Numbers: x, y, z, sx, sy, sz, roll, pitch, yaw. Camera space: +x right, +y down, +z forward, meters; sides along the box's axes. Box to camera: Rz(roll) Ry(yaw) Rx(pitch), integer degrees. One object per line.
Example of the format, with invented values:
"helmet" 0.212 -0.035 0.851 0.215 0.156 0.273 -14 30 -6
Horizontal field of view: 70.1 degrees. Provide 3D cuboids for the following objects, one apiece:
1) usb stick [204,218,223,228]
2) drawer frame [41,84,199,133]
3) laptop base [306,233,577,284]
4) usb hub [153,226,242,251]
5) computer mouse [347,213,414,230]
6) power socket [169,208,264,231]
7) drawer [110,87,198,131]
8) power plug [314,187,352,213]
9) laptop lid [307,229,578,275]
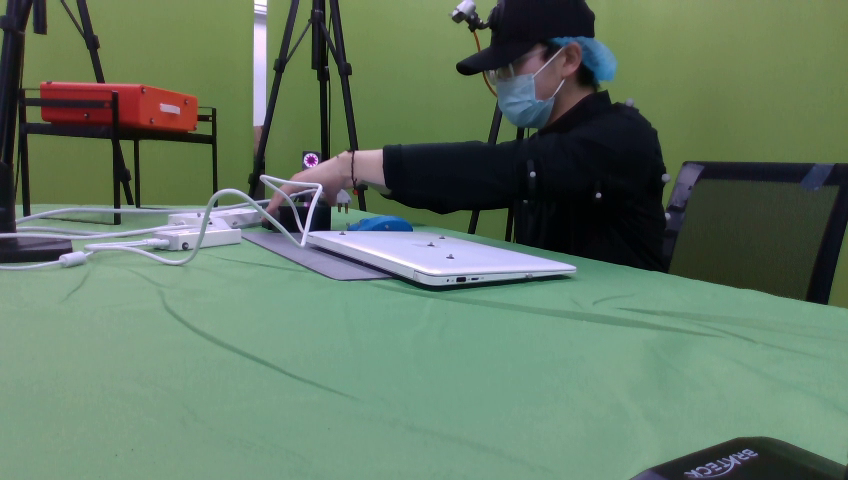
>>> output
"usb stick" -0.346 -0.018 1.010 0.021 0.027 0.059 -43 -1 -8
"drawer frame" -0.604 -0.264 1.225 0.213 0.082 0.202 3 8 8
"laptop base" 0.007 0.022 0.850 0.237 0.023 0.352 1 7 -34
"usb hub" -0.337 -0.003 0.907 0.049 0.025 0.125 6 9 28
"computer mouse" -0.079 -0.025 1.080 0.117 0.041 0.062 -5 12 -18
"power socket" -0.381 -0.038 1.128 0.072 0.032 0.227 4 8 16
"drawer" -0.601 -0.263 1.225 0.211 0.073 0.195 3 8 10
"power plug" -0.181 -0.080 1.219 0.072 0.052 0.035 -2 1 6
"laptop lid" 0.009 0.010 0.850 0.243 0.013 0.355 0 8 -32
